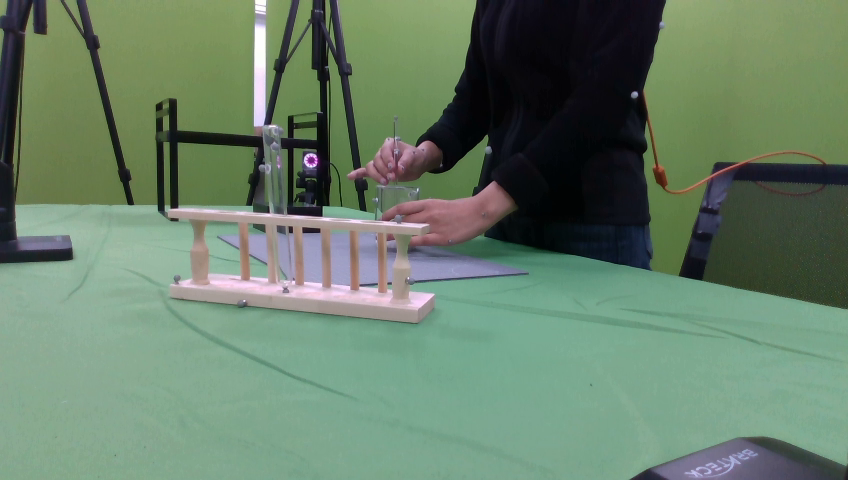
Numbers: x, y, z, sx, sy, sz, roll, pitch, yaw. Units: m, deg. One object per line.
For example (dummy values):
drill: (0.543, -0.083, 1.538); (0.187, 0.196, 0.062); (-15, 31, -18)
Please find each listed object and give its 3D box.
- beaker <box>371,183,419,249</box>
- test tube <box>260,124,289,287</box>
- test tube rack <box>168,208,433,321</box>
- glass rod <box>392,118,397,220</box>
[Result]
beaker: (-0.043, -0.039, 0.955); (0.083, 0.100, 0.074); (8, 10, 44)
test tube: (-0.137, -0.031, 0.556); (0.017, 0.150, 0.017); (-3, 6, 1)
test tube rack: (-0.115, 0.017, 0.574); (0.242, 0.085, 0.067); (4, 8, 13)
glass rod: (-0.047, -0.094, 0.965); (0.008, 0.199, 0.008); (0, 9, 0)
